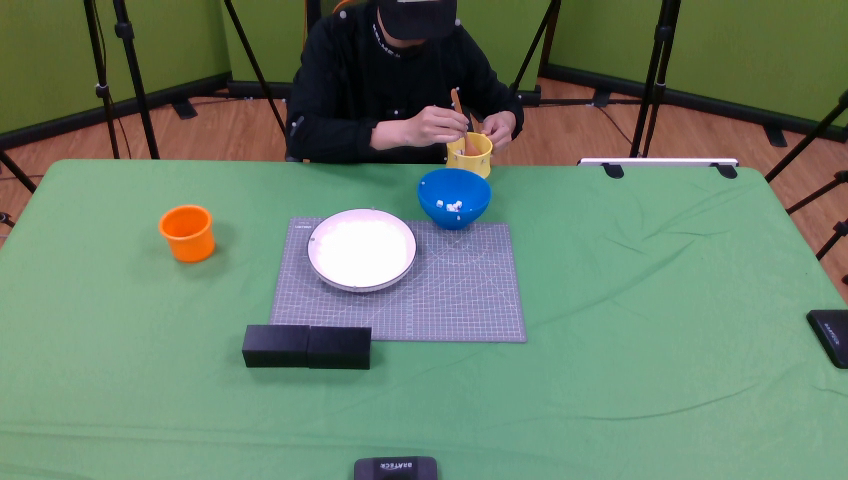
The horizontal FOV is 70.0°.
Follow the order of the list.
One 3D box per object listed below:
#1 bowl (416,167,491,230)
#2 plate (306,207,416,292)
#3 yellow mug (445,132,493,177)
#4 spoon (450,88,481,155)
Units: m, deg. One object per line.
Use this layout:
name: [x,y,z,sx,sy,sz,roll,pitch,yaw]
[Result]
bowl: [0.057,-0.074,1.231,0.151,0.077,0.150,2,42,-2]
plate: [-0.119,0.021,1.153,0.209,0.038,0.208,2,46,-2]
yellow mug: [0.104,-0.190,1.318,0.099,0.064,0.130,23,45,23]
spoon: [0.083,-0.228,1.258,0.041,0.195,0.021,-16,34,9]
